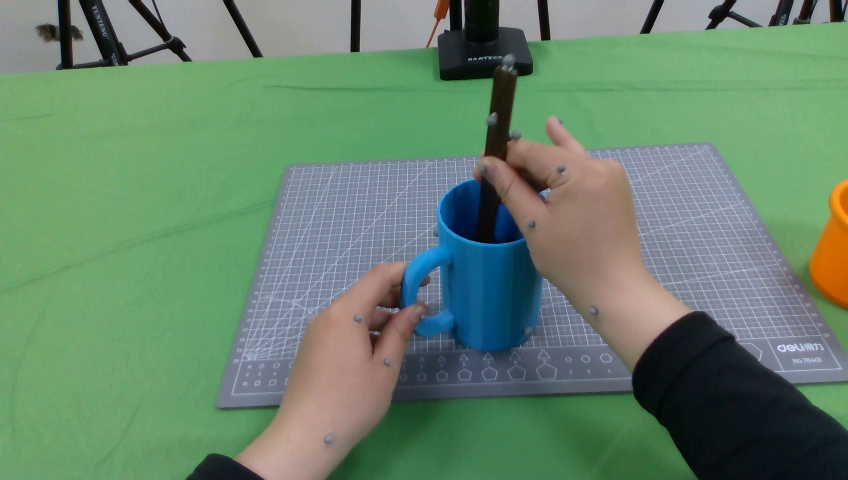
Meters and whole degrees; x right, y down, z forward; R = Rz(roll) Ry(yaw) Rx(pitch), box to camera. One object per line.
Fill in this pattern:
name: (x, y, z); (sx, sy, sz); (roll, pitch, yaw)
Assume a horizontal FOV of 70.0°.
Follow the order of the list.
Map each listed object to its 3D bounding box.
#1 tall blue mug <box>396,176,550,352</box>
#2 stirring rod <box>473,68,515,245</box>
tall blue mug: (0.039, 0.028, 0.432); (0.077, 0.109, 0.107); (21, 47, 24)
stirring rod: (0.043, -0.037, 0.400); (0.014, 0.178, 0.006); (19, 53, 14)
